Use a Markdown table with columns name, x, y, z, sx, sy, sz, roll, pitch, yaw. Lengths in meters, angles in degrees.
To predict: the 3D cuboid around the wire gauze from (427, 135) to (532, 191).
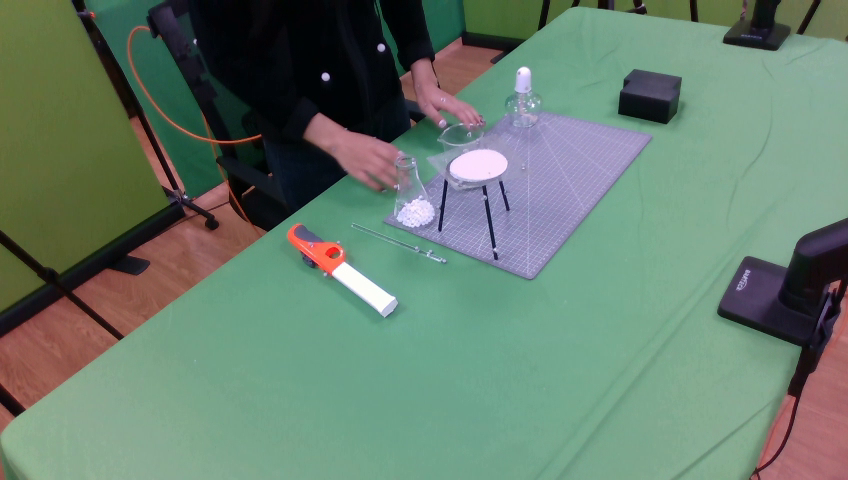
| name | x | y | z | sx | sy | sz | roll | pitch | yaw |
| --- | --- | --- | --- | --- | --- | --- | --- | --- | --- |
| wire gauze | 0.081 | -0.115 | 0.909 | 0.125 | 0.011 | 0.120 | -18 | 39 | -11 |

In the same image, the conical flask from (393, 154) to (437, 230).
| name | x | y | z | sx | sy | sz | roll | pitch | yaw |
| --- | --- | --- | --- | --- | --- | --- | --- | --- | --- |
| conical flask | -0.022 | -0.082 | 1.003 | 0.075 | 0.122 | 0.075 | -6 | 40 | 5 |

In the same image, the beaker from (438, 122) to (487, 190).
| name | x | y | z | sx | sy | sz | roll | pitch | yaw |
| --- | --- | --- | --- | --- | --- | --- | --- | --- | --- |
| beaker | 0.072 | -0.147 | 1.080 | 0.084 | 0.101 | 0.073 | -5 | 40 | 7 |

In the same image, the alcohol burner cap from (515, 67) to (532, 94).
| name | x | y | z | sx | sy | sz | roll | pitch | yaw |
| --- | --- | --- | --- | --- | --- | --- | --- | --- | --- |
| alcohol burner cap | 0.197 | -0.315 | 1.187 | 0.034 | 0.048 | 0.033 | -3 | 46 | 3 |

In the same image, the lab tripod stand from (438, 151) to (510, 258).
| name | x | y | z | sx | sy | sz | roll | pitch | yaw |
| --- | --- | --- | --- | --- | --- | --- | --- | --- | --- |
| lab tripod stand | 0.087 | -0.064 | 0.952 | 0.148 | 0.132 | 0.147 | -6 | 38 | 5 |

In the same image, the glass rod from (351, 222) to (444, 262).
| name | x | y | z | sx | sy | sz | roll | pitch | yaw |
| --- | --- | --- | --- | --- | --- | --- | --- | --- | --- |
| glass rod | -0.048 | 0.001 | 1.004 | 0.198 | 0.008 | 0.008 | 21 | 49 | 31 |

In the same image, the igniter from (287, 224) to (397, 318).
| name | x | y | z | sx | sy | sz | roll | pitch | yaw |
| --- | --- | --- | --- | --- | --- | --- | --- | --- | --- |
| igniter | -0.139 | 0.042 | 0.958 | 0.057 | 0.025 | 0.274 | -41 | 49 | -19 |

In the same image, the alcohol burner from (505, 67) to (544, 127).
| name | x | y | z | sx | sy | sz | roll | pitch | yaw |
| --- | --- | --- | --- | --- | --- | --- | --- | --- | --- |
| alcohol burner | 0.201 | -0.288 | 1.211 | 0.078 | 0.119 | 0.077 | -6 | 38 | 5 |
